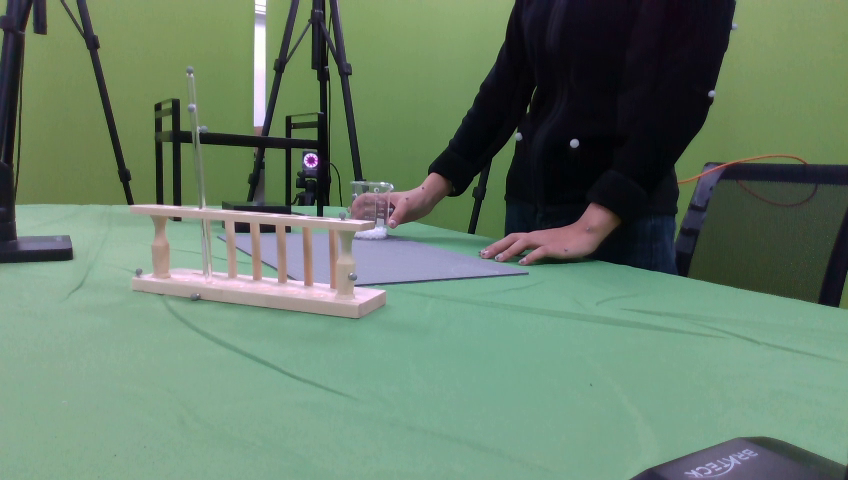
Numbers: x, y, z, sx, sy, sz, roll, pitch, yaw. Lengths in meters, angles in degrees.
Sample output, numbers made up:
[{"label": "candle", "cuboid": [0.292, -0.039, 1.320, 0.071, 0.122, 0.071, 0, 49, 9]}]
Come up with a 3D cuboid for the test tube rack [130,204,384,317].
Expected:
[{"label": "test tube rack", "cuboid": [-0.162, 0.013, 0.589, 0.242, 0.085, 0.067, 4, 8, 17]}]

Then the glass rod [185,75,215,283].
[{"label": "glass rod", "cuboid": [-0.210, -0.052, 0.568, 0.008, 0.199, 0.008, -1, 14, 1]}]

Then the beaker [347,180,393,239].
[{"label": "beaker", "cuboid": [-0.095, -0.054, 1.064, 0.084, 0.100, 0.074, 6, 9, 21]}]
